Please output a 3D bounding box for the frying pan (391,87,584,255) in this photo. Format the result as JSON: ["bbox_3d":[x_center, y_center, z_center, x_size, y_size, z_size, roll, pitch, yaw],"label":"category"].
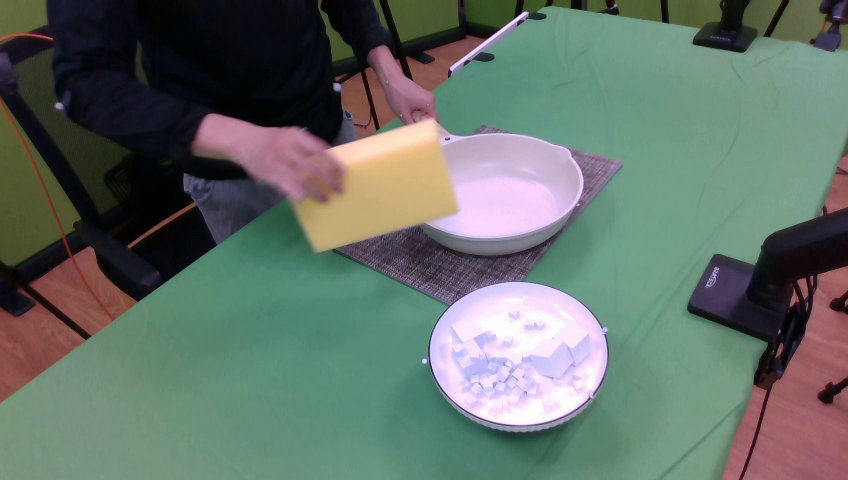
[{"bbox_3d":[0.063,-0.143,1.056,0.308,0.103,0.483,-22,51,-18],"label":"frying pan"}]

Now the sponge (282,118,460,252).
[{"bbox_3d":[-0.068,-0.072,0.806,0.207,0.119,0.060,-16,35,3],"label":"sponge"}]

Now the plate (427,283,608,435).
[{"bbox_3d":[0.108,0.137,0.708,0.207,0.039,0.206,-4,42,4],"label":"plate"}]
